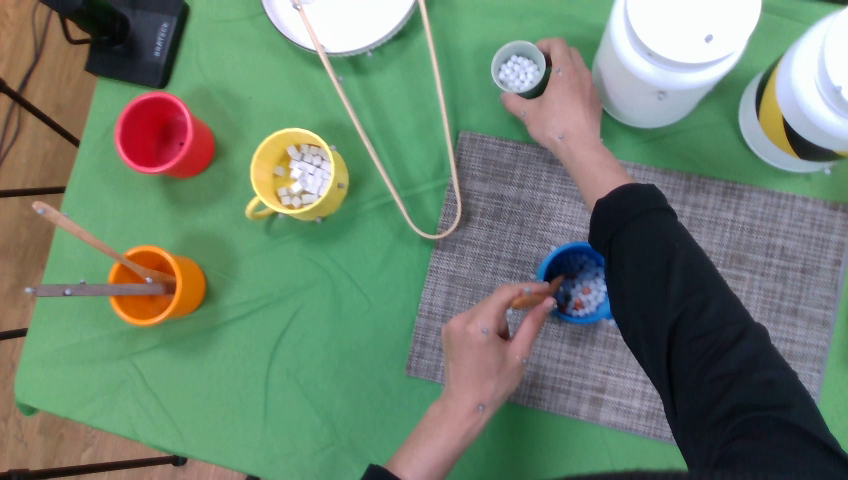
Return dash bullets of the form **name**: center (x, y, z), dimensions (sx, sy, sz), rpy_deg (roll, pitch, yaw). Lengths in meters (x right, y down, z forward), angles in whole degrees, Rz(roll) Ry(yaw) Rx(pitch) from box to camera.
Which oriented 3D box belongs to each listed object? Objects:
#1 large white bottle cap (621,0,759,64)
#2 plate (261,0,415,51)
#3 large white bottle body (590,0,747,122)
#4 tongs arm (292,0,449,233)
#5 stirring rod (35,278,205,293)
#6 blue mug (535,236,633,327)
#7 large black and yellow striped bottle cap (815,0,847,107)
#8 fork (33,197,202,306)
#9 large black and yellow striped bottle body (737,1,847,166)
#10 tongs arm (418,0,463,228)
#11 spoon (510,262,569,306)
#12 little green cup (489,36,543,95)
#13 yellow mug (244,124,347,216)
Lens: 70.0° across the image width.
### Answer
- **large white bottle cap**: center (0.235, -0.214, 0.538), dimensions (0.114, 0.018, 0.114), rpy_deg (-1, 86, 8)
- **plate**: center (-0.101, -0.331, 0.747), dimensions (0.207, 0.039, 0.207), rpy_deg (0, 86, 7)
- **large white bottle body**: center (0.247, -0.208, 0.621), dimensions (0.130, 0.185, 0.130), rpy_deg (-1, 85, 7)
- **tongs arm**: center (-0.076, -0.176, 0.713), dimensions (0.051, 0.026, 0.384), rpy_deg (-26, 90, 1)
- **stirring rod**: center (-0.345, 0.052, 0.700), dimensions (0.177, 0.006, 0.014), rpy_deg (1, 79, -34)
- **blue mug**: center (0.175, 0.052, 0.649), dimensions (0.116, 0.106, 0.082), rpy_deg (41, 91, 8)
- **large black and yellow striped bottle cap**: center (0.397, -0.163, 0.516), dimensions (0.115, 0.019, 0.115), rpy_deg (0, 87, 6)
- **fork**: center (-0.346, 0.016, 0.696), dimensions (0.028, 0.018, 0.209), rpy_deg (-50, 125, -3)
- **large black and yellow striped bottle body**: center (0.408, -0.154, 0.599), dimensions (0.130, 0.184, 0.130), rpy_deg (-1, 85, 8)
- **tongs arm**: center (0.003, -0.205, 0.710), dimensions (0.028, 0.028, 0.387), rpy_deg (-12, 91, -3)
- **spoon**: center (0.115, 0.044, 0.591), dimensions (0.041, 0.194, 0.021), rpy_deg (-38, 83, 20)
- **little green cup**: center (0.108, -0.200, 0.704), dimensions (0.061, 0.039, 0.061), rpy_deg (-1, 84, 11)
- **yellow mug**: center (-0.160, -0.072, 0.722), dimensions (0.131, 0.064, 0.099), rpy_deg (-39, 83, 4)
